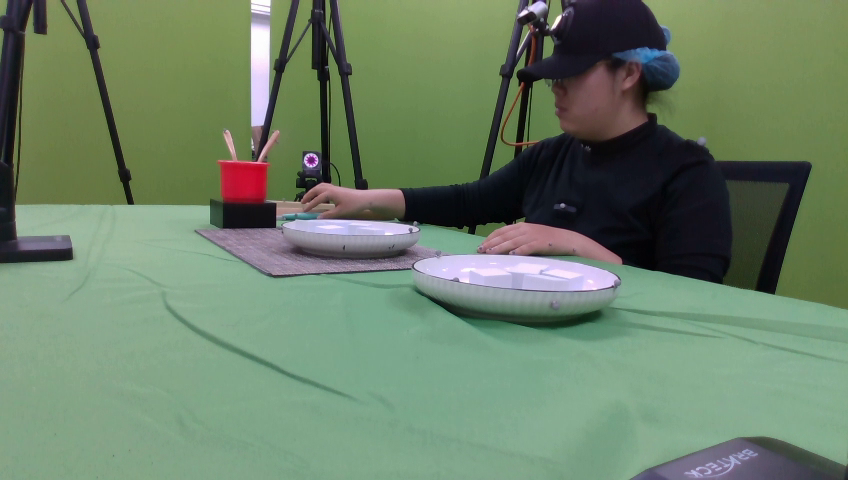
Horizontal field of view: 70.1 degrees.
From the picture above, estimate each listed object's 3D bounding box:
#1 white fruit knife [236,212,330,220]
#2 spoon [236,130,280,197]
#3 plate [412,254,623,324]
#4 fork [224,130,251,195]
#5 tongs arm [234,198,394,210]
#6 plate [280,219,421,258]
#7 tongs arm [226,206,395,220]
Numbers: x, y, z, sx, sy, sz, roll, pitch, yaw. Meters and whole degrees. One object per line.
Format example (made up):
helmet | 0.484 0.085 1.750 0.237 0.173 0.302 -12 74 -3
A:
white fruit knife | -0.305 -0.050 1.330 0.208 0.016 0.027 -2 -20 -24
spoon | -0.321 -0.154 1.192 0.041 0.193 0.022 1 -37 19
plate | 0.091 0.047 0.609 0.209 0.038 0.209 2 7 0
fork | -0.372 -0.155 1.193 0.028 0.018 0.206 -17 54 -13
tongs arm | -0.263 -0.076 1.460 0.386 0.026 0.050 3 8 -8
plate | -0.108 -0.002 0.902 0.208 0.039 0.207 3 7 0
tongs arm | -0.248 -0.061 1.382 0.389 0.028 0.028 0 6 -20
